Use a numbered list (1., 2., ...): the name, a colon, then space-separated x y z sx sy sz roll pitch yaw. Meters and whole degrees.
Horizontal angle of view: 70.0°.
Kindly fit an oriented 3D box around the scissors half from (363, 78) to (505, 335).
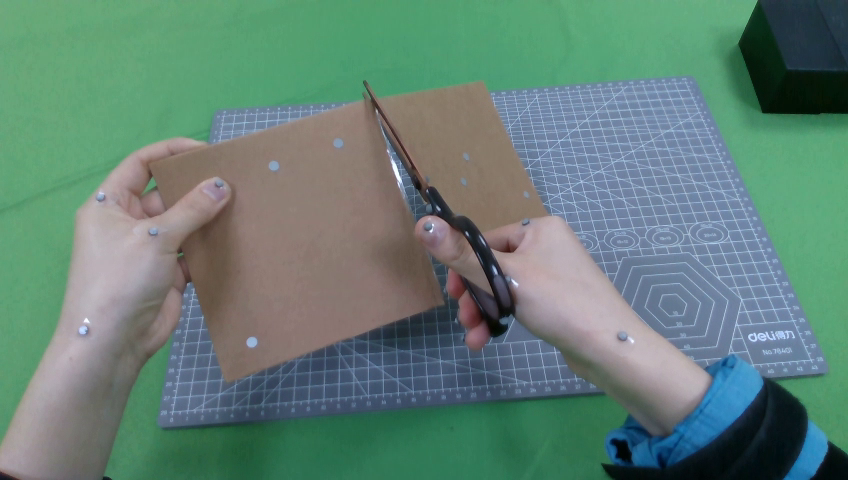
1. scissors half: 0.002 -0.023 0.361 0.013 0.040 0.174 -26 84 -7

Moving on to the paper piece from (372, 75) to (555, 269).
1. paper piece: 0.037 -0.048 0.422 0.136 0.004 0.135 -26 92 -49

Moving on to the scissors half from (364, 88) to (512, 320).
1. scissors half: 0.002 -0.030 0.341 0.013 0.040 0.173 -25 59 -11

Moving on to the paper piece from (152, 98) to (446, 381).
1. paper piece: -0.074 -0.004 0.359 0.138 0.008 0.135 -19 83 -5
